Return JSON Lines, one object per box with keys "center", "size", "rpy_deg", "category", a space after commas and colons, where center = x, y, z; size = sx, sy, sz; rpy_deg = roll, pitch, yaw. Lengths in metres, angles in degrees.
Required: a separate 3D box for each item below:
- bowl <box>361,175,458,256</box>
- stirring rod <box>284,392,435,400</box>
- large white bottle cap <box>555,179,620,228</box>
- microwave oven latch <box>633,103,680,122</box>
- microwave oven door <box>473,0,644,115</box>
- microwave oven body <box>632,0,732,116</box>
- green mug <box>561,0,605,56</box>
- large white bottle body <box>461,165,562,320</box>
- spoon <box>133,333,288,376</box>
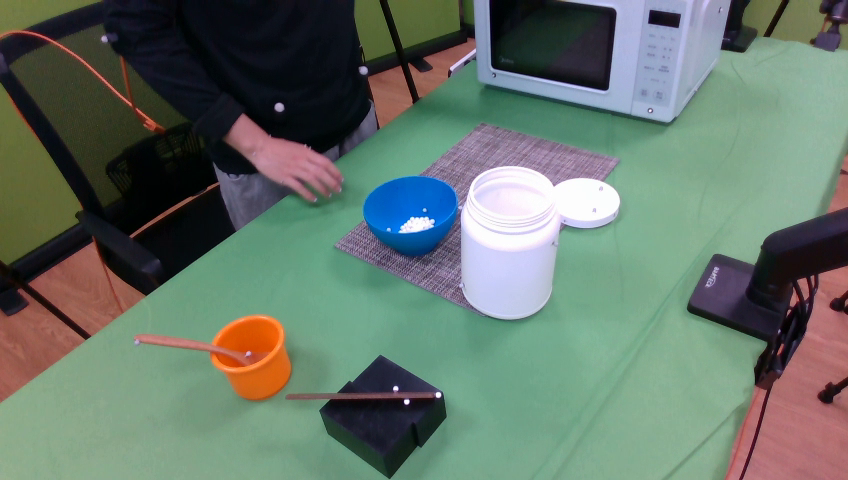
{"center": [-0.019, -0.028, 0.955], "size": [0.151, 0.077, 0.150], "rpy_deg": [-4, 40, 4], "category": "bowl"}
{"center": [-0.075, 0.180, 0.698], "size": [0.176, 0.006, 0.014], "rpy_deg": [-2, 6, 7], "category": "stirring rod"}
{"center": [0.265, -0.062, 1.001], "size": [0.115, 0.018, 0.114], "rpy_deg": [-4, 41, 4], "category": "large white bottle cap"}
{"center": [0.443, -0.249, 1.157], "size": [0.078, 0.029, 0.030], "rpy_deg": [20, 48, 30], "category": "microwave oven latch"}
{"center": [0.257, -0.396, 1.199], "size": [0.353, 0.245, 0.039], "rpy_deg": [21, 48, 29], "category": "microwave oven door"}
{"center": [0.377, -0.462, 1.267], "size": [0.438, 0.261, 0.327], "rpy_deg": [21, 48, 30], "category": "microwave oven body"}
{"center": [0.336, -0.450, 1.293], "size": [0.092, 0.105, 0.125], "rpy_deg": [7, 49, 22], "category": "green mug"}
{"center": [0.115, 0.004, 0.815], "size": [0.130, 0.185, 0.130], "rpy_deg": [-2, 43, 2], "category": "large white bottle body"}
{"center": [-0.257, 0.137, 0.747], "size": [0.021, 0.195, 0.041], "rpy_deg": [-47, 40, 22], "category": "spoon"}
